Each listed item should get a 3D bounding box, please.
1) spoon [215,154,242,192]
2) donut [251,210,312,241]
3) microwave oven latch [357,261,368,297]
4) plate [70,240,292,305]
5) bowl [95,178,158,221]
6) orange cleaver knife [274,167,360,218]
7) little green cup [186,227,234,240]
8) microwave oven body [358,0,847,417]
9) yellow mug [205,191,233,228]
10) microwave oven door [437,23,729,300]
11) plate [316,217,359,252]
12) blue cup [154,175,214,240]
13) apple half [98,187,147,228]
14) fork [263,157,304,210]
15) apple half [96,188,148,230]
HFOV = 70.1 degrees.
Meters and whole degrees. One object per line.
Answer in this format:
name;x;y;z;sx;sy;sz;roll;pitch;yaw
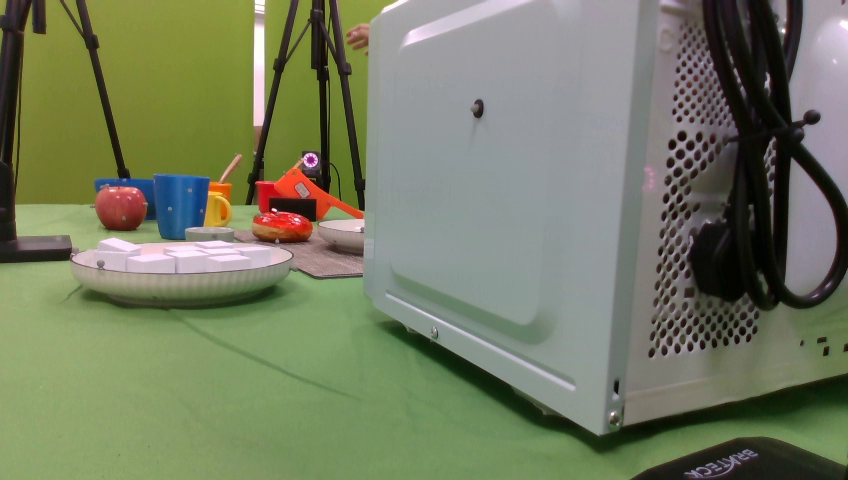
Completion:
spoon;-0.439;-0.124;1.318;0.041;0.193;0.022;5;-36;17
donut;-0.231;-0.022;0.983;0.099;0.048;0.099;5;7;0
microwave oven latch;-0.019;0.033;0.531;0.079;0.029;0.030;-1;7;-27
plate;-0.242;0.031;0.618;0.208;0.039;0.207;2;8;0
bowl;-0.576;-0.081;1.217;0.151;0.077;0.151;3;8;0
orange cleaver knife;-0.238;-0.091;1.381;0.212;0.077;0.012;31;0;-19
little green cup;-0.284;0.005;0.805;0.061;0.038;0.061;2;8;0
microwave oven body;0.211;-0.047;0.474;0.444;0.260;0.324;-1;7;-28
yellow mug;-0.415;-0.057;1.132;0.130;0.064;0.100;6;8;16
microwave oven door;0.181;-0.072;0.621;0.358;0.243;0.039;-2;8;-29
plate;-0.064;-0.008;0.943;0.209;0.038;0.209;3;8;0
blue cup;-0.390;-0.053;0.978;0.093;0.100;0.092;3;6;0
apple half;-0.534;-0.059;1.071;0.082;0.081;0.032;-1;12;-25
fork;-0.345;-0.143;1.505;0.028;0.019;0.207;-4;46;29
apple half;-0.517;-0.052;1.036;0.081;0.074;0.053;3;10;-26
